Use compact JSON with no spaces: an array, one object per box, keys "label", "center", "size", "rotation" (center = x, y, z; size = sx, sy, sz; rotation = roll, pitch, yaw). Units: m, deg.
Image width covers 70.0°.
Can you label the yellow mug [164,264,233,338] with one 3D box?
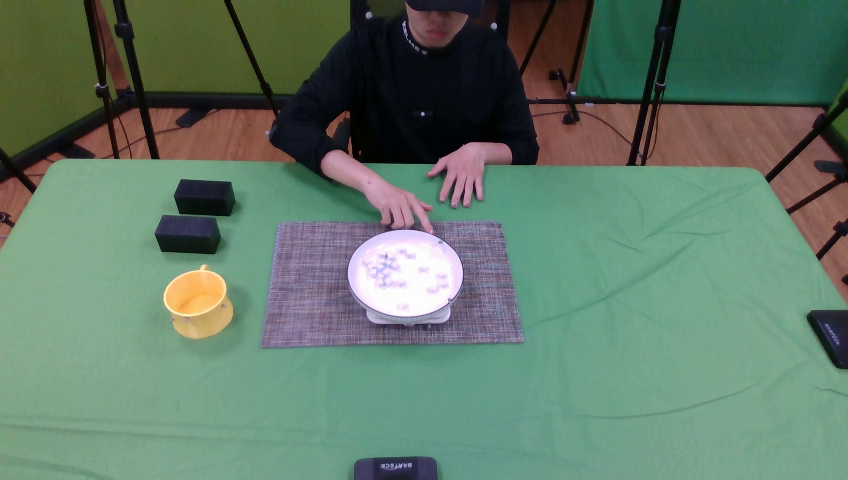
[{"label":"yellow mug","center":[-0.384,0.097,1.044],"size":[0.100,0.064,0.130],"rotation":[-1,45,-5]}]

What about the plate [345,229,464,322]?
[{"label":"plate","center":[-0.034,0.065,1.073],"size":[0.209,0.038,0.208],"rotation":[2,46,-2]}]

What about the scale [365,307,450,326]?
[{"label":"scale","center":[-0.032,0.071,1.113],"size":[0.149,0.032,0.199],"rotation":[1,46,-4]}]
